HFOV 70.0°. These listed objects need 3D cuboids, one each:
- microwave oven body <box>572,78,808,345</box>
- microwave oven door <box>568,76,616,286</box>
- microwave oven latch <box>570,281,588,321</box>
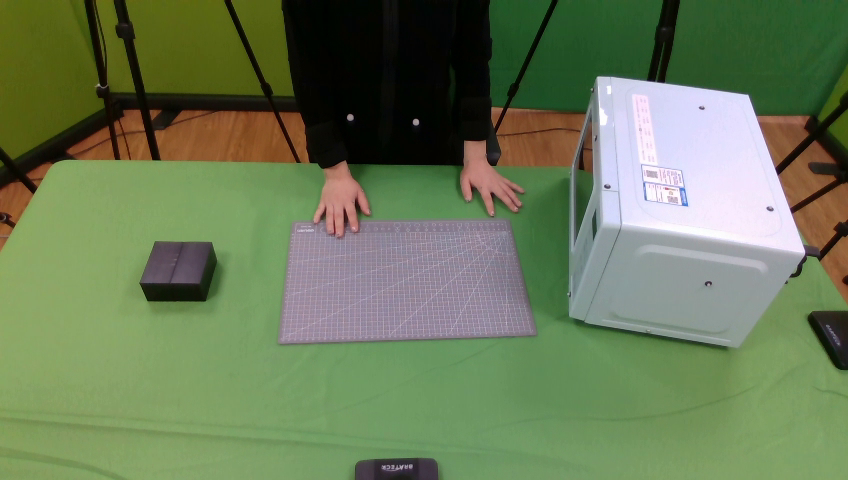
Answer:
[{"bbox_3d":[0.456,-0.063,1.125,0.326,0.261,0.439,8,45,5],"label":"microwave oven body"},{"bbox_3d":[0.319,-0.119,1.161,0.039,0.245,0.354,9,46,5],"label":"microwave oven door"},{"bbox_3d":[0.276,0.105,1.082,0.030,0.029,0.079,9,45,6],"label":"microwave oven latch"}]
